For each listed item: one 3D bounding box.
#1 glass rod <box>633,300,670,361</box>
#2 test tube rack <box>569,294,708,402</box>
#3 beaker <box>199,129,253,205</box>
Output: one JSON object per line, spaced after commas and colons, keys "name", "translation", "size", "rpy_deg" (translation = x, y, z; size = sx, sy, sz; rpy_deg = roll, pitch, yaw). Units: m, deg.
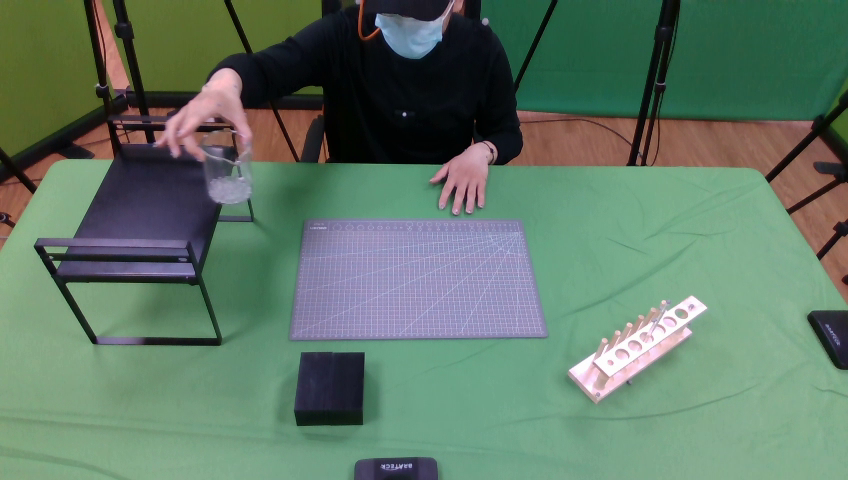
{"name": "glass rod", "translation": [0.351, 0.144, 0.944], "size": [0.008, 0.201, 0.008], "rpy_deg": [-1, 55, 1]}
{"name": "test tube rack", "translation": [0.360, 0.167, 1.014], "size": [0.242, 0.085, 0.066], "rpy_deg": [-25, 53, -25]}
{"name": "beaker", "translation": [-0.306, -0.110, 0.953], "size": [0.074, 0.101, 0.083], "rpy_deg": [-22, 53, -30]}
